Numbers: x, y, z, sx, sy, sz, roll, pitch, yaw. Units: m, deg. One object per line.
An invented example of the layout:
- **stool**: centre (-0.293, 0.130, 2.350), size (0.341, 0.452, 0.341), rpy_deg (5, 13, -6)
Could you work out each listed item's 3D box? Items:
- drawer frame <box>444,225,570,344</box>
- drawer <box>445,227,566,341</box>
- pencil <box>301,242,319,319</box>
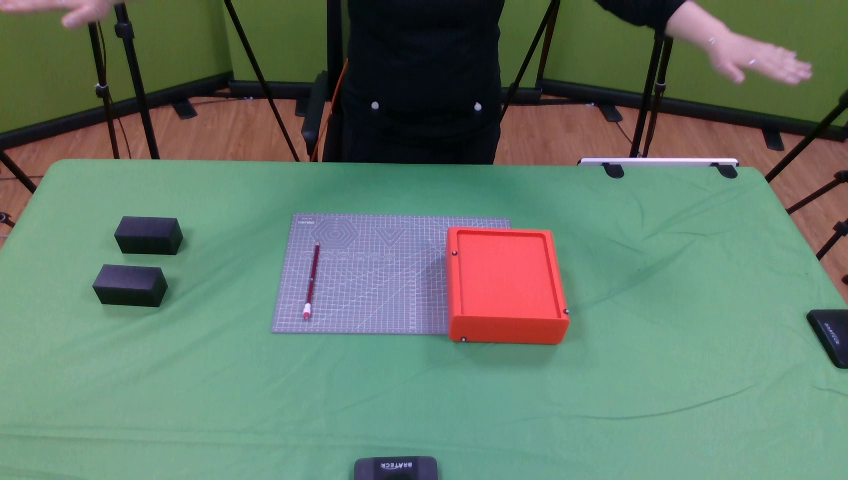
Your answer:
- **drawer frame**: centre (0.141, 0.077, 1.088), size (0.202, 0.083, 0.212), rpy_deg (2, 47, -4)
- **drawer**: centre (0.139, 0.076, 1.091), size (0.195, 0.073, 0.210), rpy_deg (3, 47, -3)
- **pencil**: centre (-0.208, 0.070, 1.119), size (0.012, 0.012, 0.193), rpy_deg (2, 43, -2)
